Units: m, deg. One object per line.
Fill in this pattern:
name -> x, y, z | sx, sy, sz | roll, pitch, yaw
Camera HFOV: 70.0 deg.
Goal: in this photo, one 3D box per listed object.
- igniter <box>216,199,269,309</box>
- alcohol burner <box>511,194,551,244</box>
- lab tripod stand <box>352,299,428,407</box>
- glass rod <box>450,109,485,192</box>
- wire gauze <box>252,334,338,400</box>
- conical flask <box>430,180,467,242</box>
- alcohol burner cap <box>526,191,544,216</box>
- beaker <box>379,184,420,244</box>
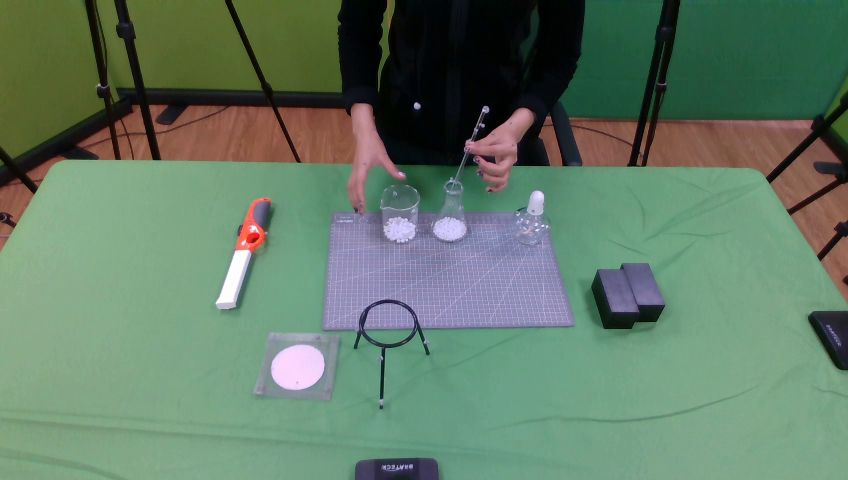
igniter -> -0.342, 0.016, 1.153 | 0.057, 0.025, 0.275 | -3, 45, 7
alcohol burner -> 0.215, -0.048, 1.196 | 0.078, 0.119, 0.077 | 4, 46, -4
lab tripod stand -> -0.056, 0.166, 0.958 | 0.148, 0.132, 0.147 | 3, 44, -2
glass rod -> 0.077, -0.154, 1.078 | 0.008, 0.200, 0.008 | 9, 50, -10
wire gauze -> -0.209, 0.204, 0.996 | 0.125, 0.011, 0.120 | 3, 45, 1
conical flask -> 0.052, -0.060, 1.189 | 0.075, 0.122, 0.075 | 2, 46, -2
alcohol burner cap -> 0.216, -0.073, 1.170 | 0.034, 0.048, 0.033 | 0, 43, 0
beaker -> -0.051, -0.047, 1.184 | 0.084, 0.101, 0.073 | -27, 53, -26
